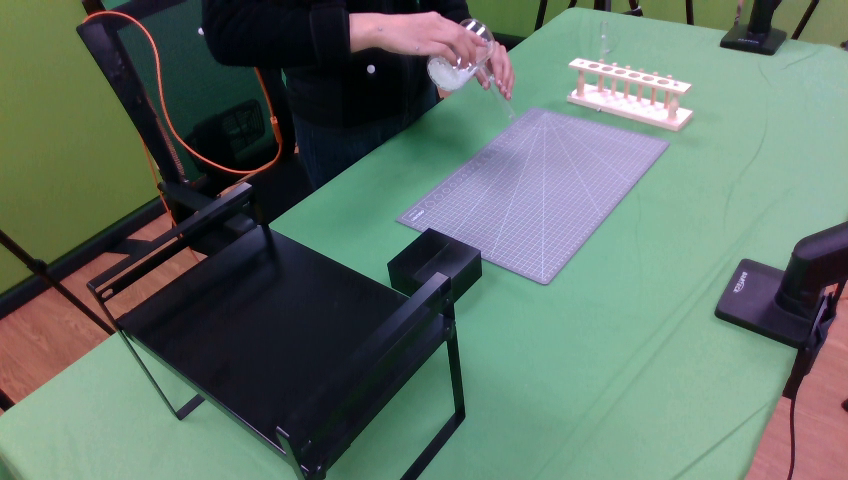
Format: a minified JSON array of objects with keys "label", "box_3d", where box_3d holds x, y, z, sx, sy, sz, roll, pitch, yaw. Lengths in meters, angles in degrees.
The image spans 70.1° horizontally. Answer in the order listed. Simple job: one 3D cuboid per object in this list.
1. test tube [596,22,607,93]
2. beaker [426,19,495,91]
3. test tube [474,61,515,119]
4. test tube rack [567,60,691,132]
[{"label":"test tube","box_3d":[0.363,-0.372,1.240,0.017,0.151,0.017,-6,40,5]},{"label":"beaker","box_3d":[0.057,-0.291,0.970,0.073,0.084,0.100,24,60,29]},{"label":"test tube","box_3d":[0.129,-0.264,1.076,0.017,0.151,0.017,-16,55,25]},{"label":"test tube rack","box_3d":[0.411,-0.300,1.217,0.240,0.085,0.067,26,51,33]}]
